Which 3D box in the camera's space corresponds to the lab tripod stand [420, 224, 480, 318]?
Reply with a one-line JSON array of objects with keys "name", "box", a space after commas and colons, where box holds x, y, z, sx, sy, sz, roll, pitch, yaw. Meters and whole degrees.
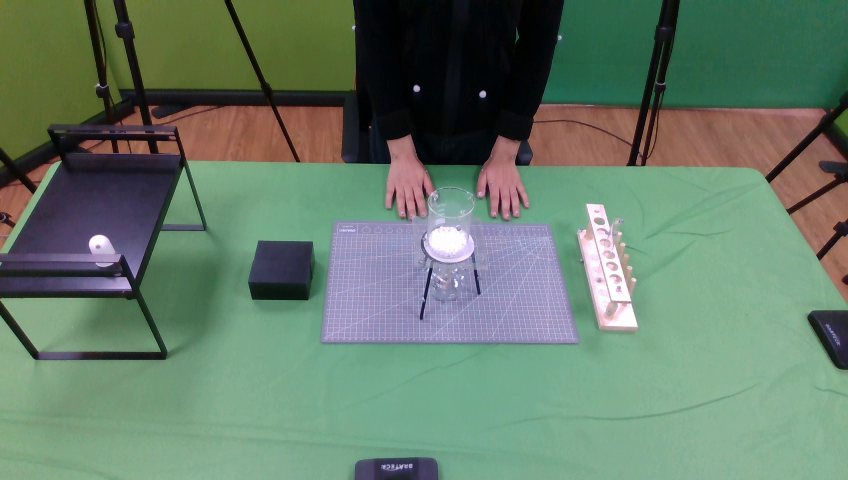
[{"name": "lab tripod stand", "box": [0.034, 0.052, 1.071, 0.148, 0.132, 0.147, 3, 48, -3]}]

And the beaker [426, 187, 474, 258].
[{"name": "beaker", "box": [0.043, -0.027, 0.989, 0.084, 0.101, 0.073, -27, 53, -26]}]

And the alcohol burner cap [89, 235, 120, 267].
[{"name": "alcohol burner cap", "box": [-0.469, 0.013, 0.885, 0.034, 0.048, 0.033, 1, 47, -1]}]

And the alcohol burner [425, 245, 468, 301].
[{"name": "alcohol burner", "box": [0.040, 0.053, 1.083, 0.078, 0.120, 0.077, 1, 47, -1]}]

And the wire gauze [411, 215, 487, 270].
[{"name": "wire gauze", "box": [0.041, 0.003, 1.026, 0.125, 0.011, 0.120, 0, 46, -1]}]

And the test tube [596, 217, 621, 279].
[{"name": "test tube", "box": [0.331, 0.018, 1.094, 0.017, 0.151, 0.017, 0, 45, 0]}]

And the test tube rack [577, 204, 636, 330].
[{"name": "test tube rack", "box": [0.348, 0.045, 1.139, 0.067, 0.085, 0.241, 2, 46, -2]}]
